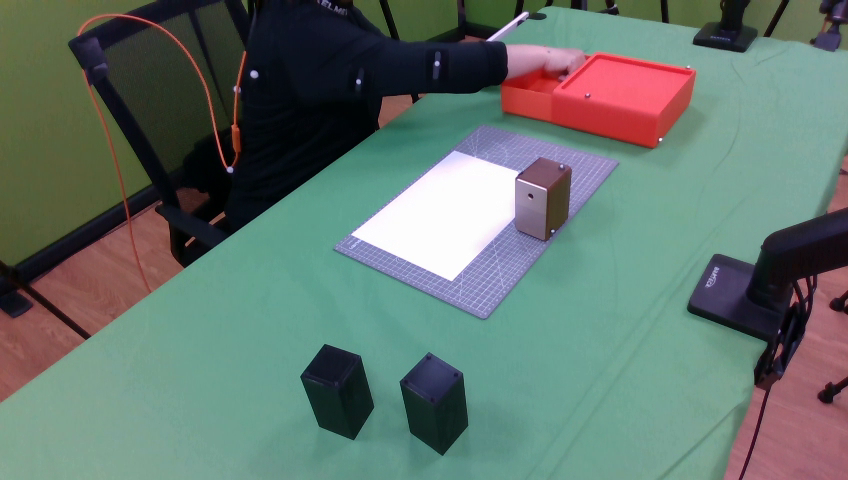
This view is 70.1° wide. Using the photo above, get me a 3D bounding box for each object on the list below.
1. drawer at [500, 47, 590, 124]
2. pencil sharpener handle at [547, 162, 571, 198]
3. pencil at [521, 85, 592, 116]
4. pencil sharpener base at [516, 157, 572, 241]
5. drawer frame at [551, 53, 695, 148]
[{"bbox_3d":[0.296,-0.316,1.256,0.210,0.073,0.195,22,47,29],"label":"drawer"},{"bbox_3d":[0.222,-0.101,0.967,0.035,0.068,0.031,18,46,38],"label":"pencil sharpener handle"},{"bbox_3d":[0.285,-0.298,1.283,0.195,0.012,0.012,-25,43,-21],"label":"pencil"},{"bbox_3d":[0.189,-0.065,0.948,0.061,0.107,0.077,24,49,33],"label":"pencil sharpener base"},{"bbox_3d":[0.391,-0.281,1.196,0.212,0.083,0.202,22,48,29],"label":"drawer frame"}]
